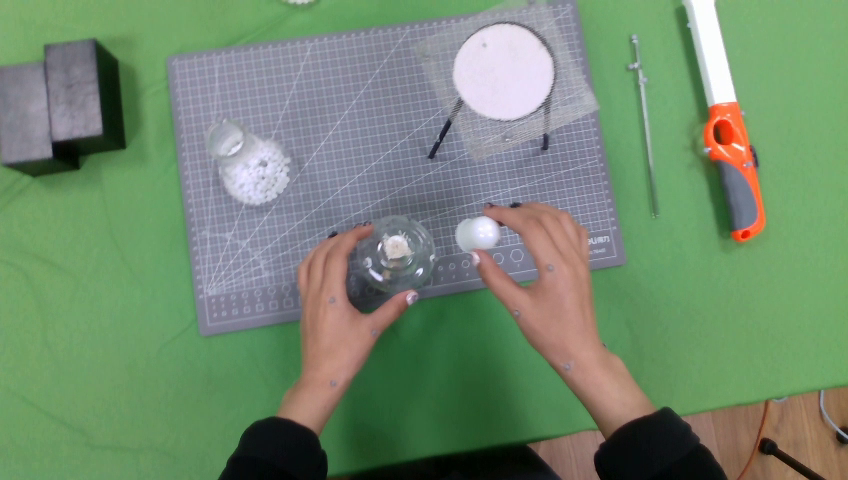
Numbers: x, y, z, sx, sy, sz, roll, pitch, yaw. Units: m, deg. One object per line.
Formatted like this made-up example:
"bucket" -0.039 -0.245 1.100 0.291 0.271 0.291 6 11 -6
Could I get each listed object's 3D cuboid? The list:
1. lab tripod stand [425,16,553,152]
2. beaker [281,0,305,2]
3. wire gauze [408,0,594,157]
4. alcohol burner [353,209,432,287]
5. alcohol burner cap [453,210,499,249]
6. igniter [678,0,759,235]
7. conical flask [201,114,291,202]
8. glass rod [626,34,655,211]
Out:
"lab tripod stand" 0.064 -0.142 0.590 0.148 0.131 0.148 0 86 -2
"beaker" -0.140 -0.300 0.619 0.074 0.100 0.084 39 83 2
"wire gauze" 0.067 -0.147 0.523 0.125 0.011 0.121 -26 86 -4
"alcohol burner" -0.030 0.006 0.581 0.078 0.119 0.077 0 83 -4
"alcohol burner cap" 0.047 -0.011 0.515 0.034 0.048 0.034 1 85 -15
"igniter" 0.318 -0.142 0.657 0.057 0.025 0.275 -8 84 -14
"conical flask" -0.175 -0.083 0.580 0.075 0.122 0.075 0 83 -2
"glass rod" 0.235 -0.130 0.661 0.008 0.008 0.199 -5 84 -3
